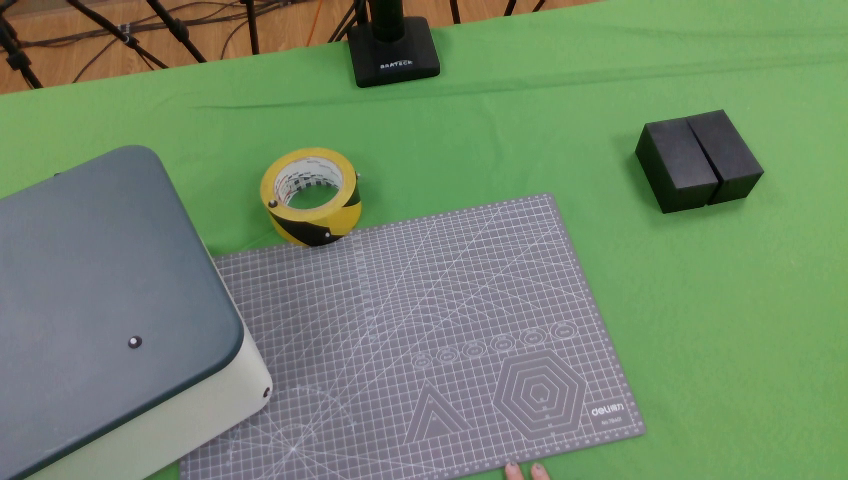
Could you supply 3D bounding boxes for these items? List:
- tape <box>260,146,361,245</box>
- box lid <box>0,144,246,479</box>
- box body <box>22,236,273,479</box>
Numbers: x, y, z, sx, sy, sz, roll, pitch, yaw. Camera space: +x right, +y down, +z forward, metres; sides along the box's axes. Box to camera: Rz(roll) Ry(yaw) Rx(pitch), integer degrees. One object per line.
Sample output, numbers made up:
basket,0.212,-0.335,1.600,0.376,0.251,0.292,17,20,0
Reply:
tape,-0.134,-0.054,0.719,0.117,0.053,0.116,-1,57,2
box lid,-0.355,0.076,0.496,0.372,0.015,0.261,-29,63,-14
box body,-0.355,0.115,0.560,0.364,0.162,0.251,-29,62,-14
